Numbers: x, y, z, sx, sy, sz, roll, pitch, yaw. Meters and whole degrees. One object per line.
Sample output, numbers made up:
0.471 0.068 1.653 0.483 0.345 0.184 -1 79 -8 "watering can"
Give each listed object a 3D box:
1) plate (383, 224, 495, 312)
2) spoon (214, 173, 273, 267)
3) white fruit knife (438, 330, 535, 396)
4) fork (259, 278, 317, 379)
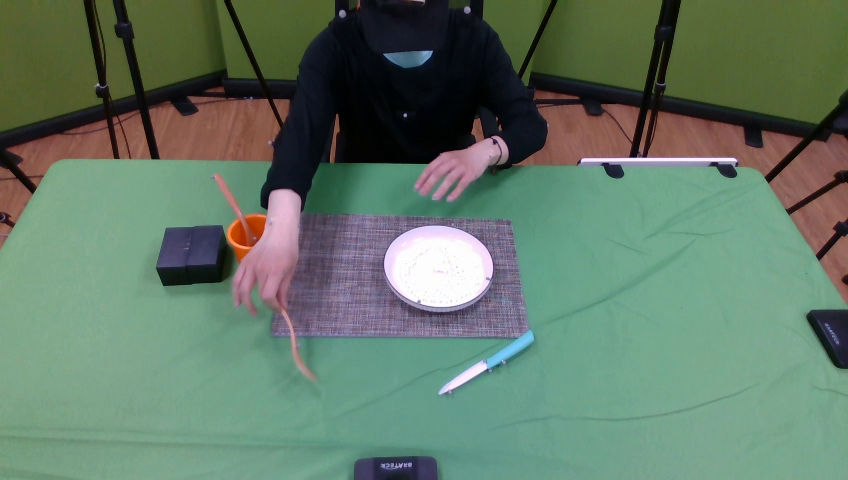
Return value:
0.026 0.055 1.128 0.209 0.038 0.208 2 46 -2 "plate"
-0.336 -0.037 1.121 0.041 0.194 0.021 -30 10 -28 "spoon"
0.108 0.206 1.009 0.207 0.016 0.027 -27 30 -22 "white fruit knife"
-0.225 0.141 0.993 0.018 0.028 0.206 -30 64 -4 "fork"
